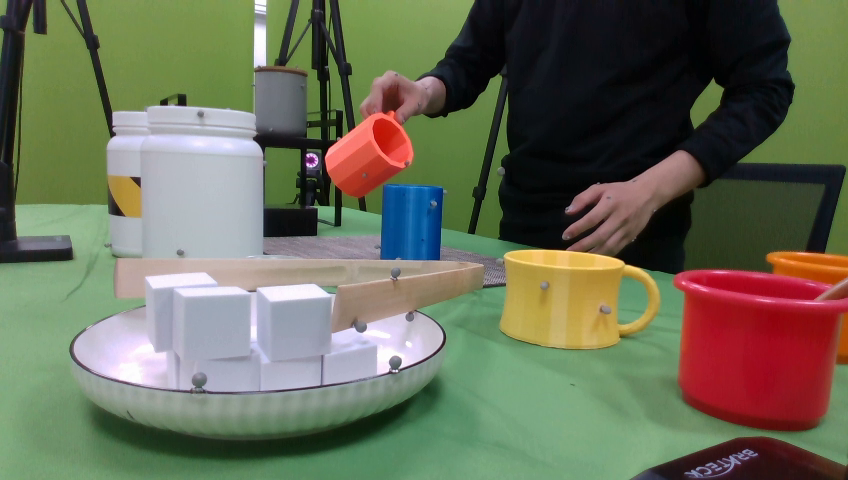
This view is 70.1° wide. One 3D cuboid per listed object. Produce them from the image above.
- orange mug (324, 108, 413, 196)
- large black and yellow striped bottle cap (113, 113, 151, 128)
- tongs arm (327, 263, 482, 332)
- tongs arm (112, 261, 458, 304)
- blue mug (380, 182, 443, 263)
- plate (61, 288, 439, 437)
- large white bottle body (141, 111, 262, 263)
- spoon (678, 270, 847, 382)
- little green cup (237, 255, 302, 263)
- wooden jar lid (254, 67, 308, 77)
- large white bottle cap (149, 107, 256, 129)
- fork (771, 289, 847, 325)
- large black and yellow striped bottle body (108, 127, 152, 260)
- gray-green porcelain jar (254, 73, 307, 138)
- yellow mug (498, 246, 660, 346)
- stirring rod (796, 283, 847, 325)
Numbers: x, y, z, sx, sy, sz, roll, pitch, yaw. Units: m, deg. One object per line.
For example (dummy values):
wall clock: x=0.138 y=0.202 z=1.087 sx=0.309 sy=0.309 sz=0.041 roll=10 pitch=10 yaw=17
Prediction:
orange mug: x=-0.076 y=-0.135 z=0.873 sx=0.084 sy=0.126 sz=0.100 roll=38 pitch=-43 yaw=-27
large black and yellow striped bottle cap: x=-0.348 y=-0.154 z=0.800 sx=0.115 sy=0.019 sz=0.115 roll=2 pitch=6 yaw=0
tongs arm: x=-0.003 y=0.036 z=0.493 sx=0.050 sy=0.026 sz=0.386 roll=1 pitch=0 yaw=19
tongs arm: x=-0.080 y=0.032 z=0.527 sx=0.028 sy=0.027 sz=0.389 roll=-3 pitch=-3 yaw=33
blue mug: x=-0.019 y=-0.026 z=0.833 sx=0.082 sy=0.106 sz=0.116 roll=1 pitch=7 yaw=-7
plate: x=-0.095 y=0.069 z=0.362 sx=0.208 sy=0.039 sz=0.207 roll=3 pitch=7 yaw=0
large white bottle body: x=-0.254 y=-0.053 z=0.697 sx=0.131 sy=0.184 sz=0.130 roll=2 pitch=7 yaw=0
spoon: x=0.229 y=0.031 z=0.338 sx=0.193 sy=0.021 sz=0.042 roll=-44 pitch=-17 yaw=27
little green cup: x=-0.150 y=0.038 z=0.590 sx=0.061 sy=0.038 sz=0.061 roll=3 pitch=6 yaw=0
wooden jar lid: x=-0.296 y=-0.339 z=1.251 sx=0.108 sy=0.020 sz=0.108 roll=2 pitch=7 yaw=0
large white bottle cap: x=-0.250 y=-0.137 z=0.686 sx=0.115 sy=0.018 sz=0.115 roll=2 pitch=8 yaw=0
fork: x=0.335 y=0.018 z=0.443 sx=0.028 sy=0.018 sz=0.207 roll=-1 pitch=-36 yaw=-20
large black and yellow striped bottle body: x=-0.350 y=-0.071 z=0.812 sx=0.131 sy=0.184 sz=0.130 roll=2 pitch=8 yaw=0
gray-green porcelain jar: x=-0.298 y=-0.277 z=1.259 sx=0.106 sy=0.126 sz=0.106 roll=3 pitch=8 yaw=0
yellow mug: x=0.130 y=0.045 z=0.508 sx=0.131 sy=0.064 sz=0.100 roll=4 pitch=7 yaw=6
stirring rod: x=0.347 y=0.019 z=0.460 sx=0.014 sy=0.176 sz=0.006 roll=-16 pitch=59 yaw=-26
